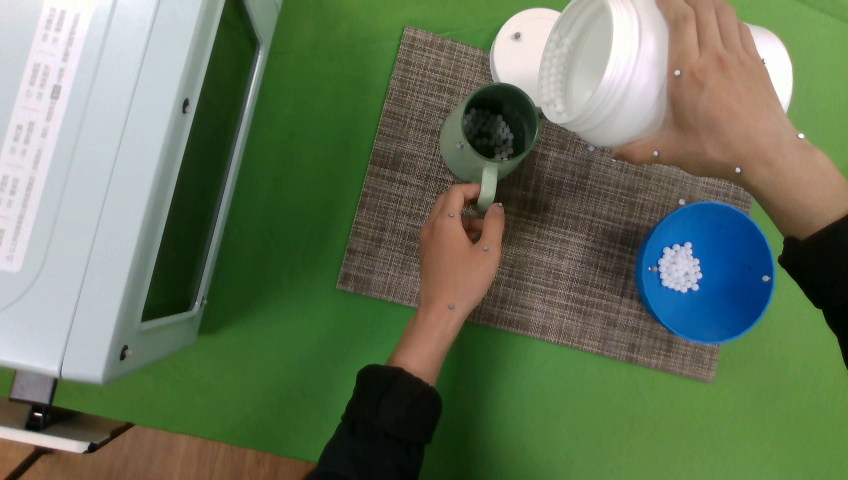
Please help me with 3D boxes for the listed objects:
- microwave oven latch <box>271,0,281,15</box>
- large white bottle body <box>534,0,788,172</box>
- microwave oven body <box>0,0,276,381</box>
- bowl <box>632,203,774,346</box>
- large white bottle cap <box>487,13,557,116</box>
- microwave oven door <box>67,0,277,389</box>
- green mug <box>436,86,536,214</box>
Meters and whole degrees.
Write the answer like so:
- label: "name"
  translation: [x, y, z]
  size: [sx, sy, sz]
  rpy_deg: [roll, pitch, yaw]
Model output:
- label: "microwave oven latch"
  translation: [-0.157, -0.278, 0.628]
  size: [0.030, 0.029, 0.079]
  rpy_deg: [14, 86, -7]
- label: "large white bottle body"
  translation: [0.204, -0.137, 0.535]
  size: [0.185, 0.130, 0.130]
  rpy_deg: [7, 86, -21]
- label: "microwave oven body"
  translation: [-0.328, -0.145, 0.502]
  size: [0.327, 0.260, 0.441]
  rpy_deg: [13, 86, -7]
- label: "bowl"
  translation: [0.291, 0.038, 0.669]
  size: [0.152, 0.077, 0.151]
  rpy_deg: [0, 87, -7]
- label: "large white bottle cap"
  translation: [0.129, -0.200, 0.688]
  size: [0.115, 0.018, 0.114]
  rpy_deg: [0, 87, -8]
- label: "microwave oven door"
  translation: [-0.195, -0.071, 0.512]
  size: [0.039, 0.243, 0.355]
  rpy_deg: [13, 86, -6]
- label: "green mug"
  translation: [0.062, -0.089, 0.630]
  size: [0.093, 0.105, 0.125]
  rpy_deg: [6, 87, -8]
